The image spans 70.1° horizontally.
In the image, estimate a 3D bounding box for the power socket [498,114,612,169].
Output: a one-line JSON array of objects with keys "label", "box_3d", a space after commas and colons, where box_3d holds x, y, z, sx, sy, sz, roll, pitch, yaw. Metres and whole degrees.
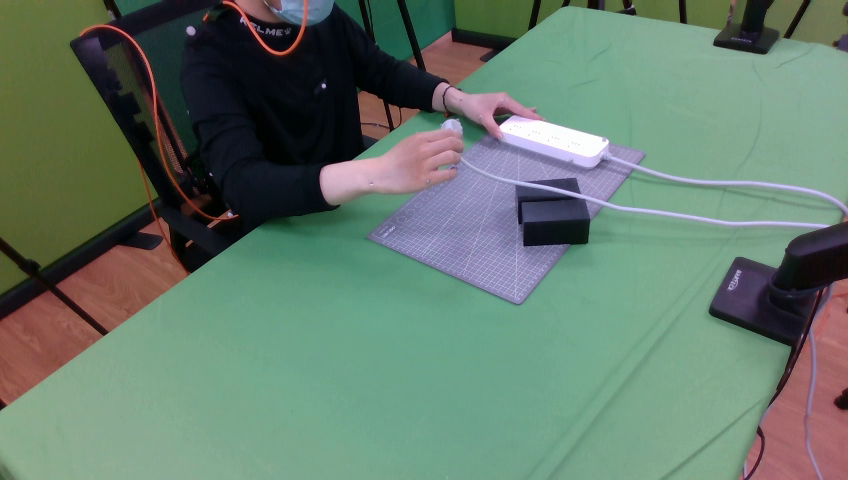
[{"label": "power socket", "box_3d": [0.240, -0.189, 1.141, 0.225, 0.033, 0.072, 25, 51, 32]}]

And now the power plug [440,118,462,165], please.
[{"label": "power plug", "box_3d": [0.043, -0.158, 0.968, 0.035, 0.072, 0.053, 3, 13, 15]}]
